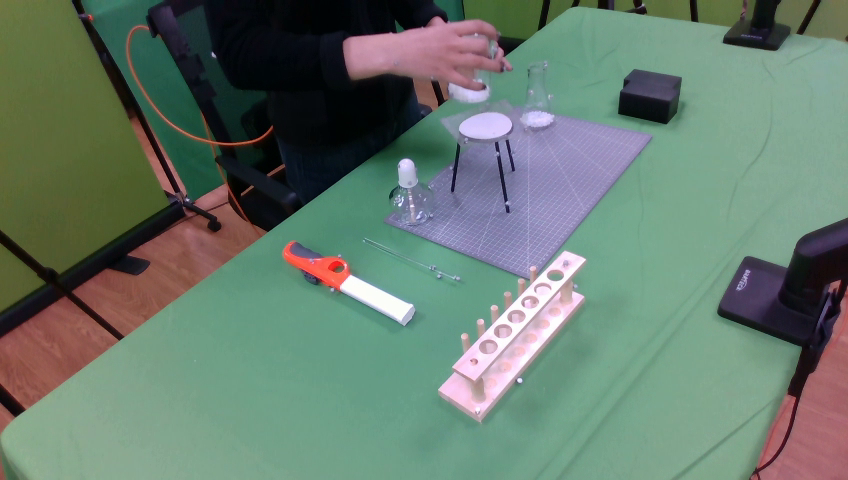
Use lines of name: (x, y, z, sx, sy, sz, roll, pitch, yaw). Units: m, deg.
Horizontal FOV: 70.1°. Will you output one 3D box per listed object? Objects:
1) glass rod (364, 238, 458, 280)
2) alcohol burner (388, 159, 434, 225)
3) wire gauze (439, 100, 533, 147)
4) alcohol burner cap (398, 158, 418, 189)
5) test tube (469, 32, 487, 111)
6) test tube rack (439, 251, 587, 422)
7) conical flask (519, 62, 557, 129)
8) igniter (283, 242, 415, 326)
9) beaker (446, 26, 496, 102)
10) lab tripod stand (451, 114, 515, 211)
glass rod: (-0.026, 0.029, 0.966, 0.198, 0.008, 0.008, 21, 49, 35)
alcohol burner: (-0.023, -0.084, 1.013, 0.078, 0.119, 0.077, -4, 38, 4)
wire gauze: (0.100, -0.190, 0.994, 0.125, 0.011, 0.120, -15, 39, -7)
alcohol burner cap: (-0.028, -0.111, 0.989, 0.034, 0.048, 0.033, -3, 47, 4)
test tube: (0.095, -0.291, 1.059, 0.017, 0.151, 0.017, -7, 43, 7)
test tube rack: (0.118, 0.111, 0.780, 0.066, 0.085, 0.243, 26, 51, 35)
conical flask: (0.225, -0.287, 1.198, 0.075, 0.122, 0.075, -6, 40, 5)
igniter: (-0.126, 0.062, 0.931, 0.274, 0.025, 0.057, 23, 60, 33)
beaker: (0.070, -0.270, 0.925, 0.074, 0.100, 0.084, 5, 30, 8)
lab tripod stand: (0.113, -0.140, 1.037, 0.148, 0.132, 0.147, -6, 38, 5)
